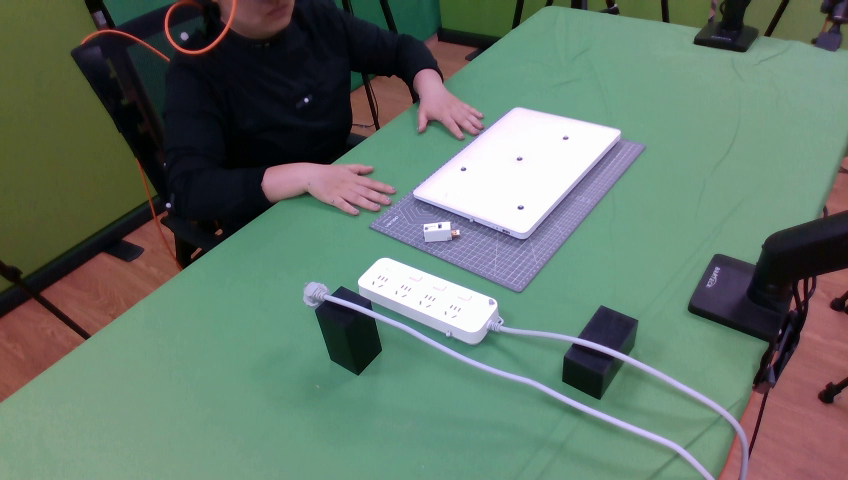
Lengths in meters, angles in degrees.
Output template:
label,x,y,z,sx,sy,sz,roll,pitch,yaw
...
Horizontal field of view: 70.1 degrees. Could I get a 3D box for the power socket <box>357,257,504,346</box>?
label,x,y,z,sx,sy,sz,roll,pitch,yaw
power socket,0.003,0.084,0.862,0.225,0.033,0.072,20,49,28

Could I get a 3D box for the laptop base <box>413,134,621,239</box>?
label,x,y,z,sx,sy,sz,roll,pitch,yaw
laptop base,0.176,-0.134,1.101,0.233,0.023,0.355,21,48,33

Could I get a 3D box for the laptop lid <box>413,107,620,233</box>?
label,x,y,z,sx,sy,sz,roll,pitch,yaw
laptop lid,0.173,-0.144,1.095,0.239,0.013,0.358,23,49,33

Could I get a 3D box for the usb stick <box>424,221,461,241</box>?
label,x,y,z,sx,sy,sz,roll,pitch,yaw
usb stick,0.030,-0.014,0.973,0.059,0.027,0.021,-2,41,2

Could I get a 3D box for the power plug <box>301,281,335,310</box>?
label,x,y,z,sx,sy,sz,roll,pitch,yaw
power plug,-0.134,0.081,0.783,0.035,0.053,0.072,-42,48,-7
